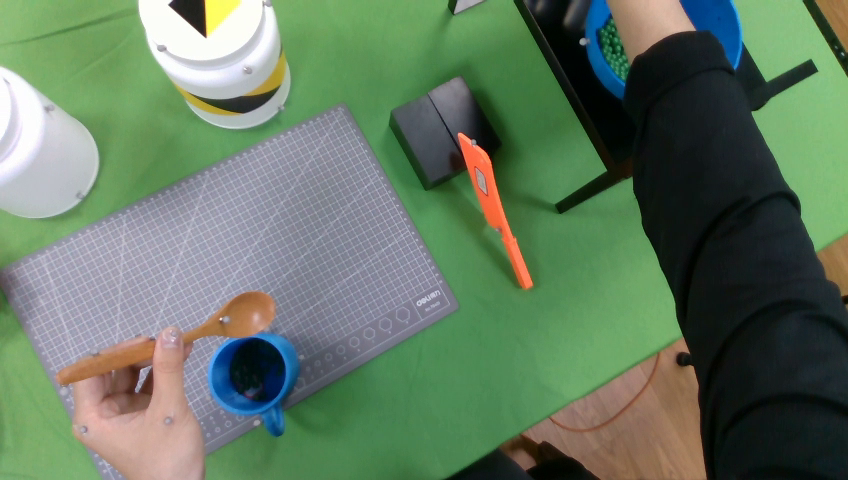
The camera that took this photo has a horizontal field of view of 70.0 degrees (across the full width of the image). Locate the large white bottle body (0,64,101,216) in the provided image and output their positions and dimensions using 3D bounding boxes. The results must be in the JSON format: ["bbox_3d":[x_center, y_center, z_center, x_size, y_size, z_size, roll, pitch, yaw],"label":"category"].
[{"bbox_3d":[-0.437,-0.104,0.627,0.131,0.185,0.130,1,82,-7],"label":"large white bottle body"}]

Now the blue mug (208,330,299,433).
[{"bbox_3d":[-0.178,0.155,0.665,0.082,0.106,0.116,-20,85,-9],"label":"blue mug"}]

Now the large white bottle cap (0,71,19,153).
[{"bbox_3d":[-0.428,-0.116,0.543,0.115,0.018,0.114,1,83,-7],"label":"large white bottle cap"}]

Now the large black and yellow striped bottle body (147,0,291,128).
[{"bbox_3d":[-0.222,-0.212,0.669,0.131,0.184,0.130,1,82,-7],"label":"large black and yellow striped bottle body"}]

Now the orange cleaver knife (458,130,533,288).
[{"bbox_3d":[0.086,-0.035,0.735,0.012,0.076,0.213,-30,118,-11],"label":"orange cleaver knife"}]

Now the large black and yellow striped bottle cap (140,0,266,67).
[{"bbox_3d":[-0.213,-0.226,0.586,0.115,0.019,0.114,1,83,-9],"label":"large black and yellow striped bottle cap"}]

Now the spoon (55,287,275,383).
[{"bbox_3d":[-0.185,0.072,0.466,0.021,0.194,0.042,8,101,24],"label":"spoon"}]

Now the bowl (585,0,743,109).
[{"bbox_3d":[0.220,-0.192,0.596,0.152,0.077,0.151,1,83,-7],"label":"bowl"}]
